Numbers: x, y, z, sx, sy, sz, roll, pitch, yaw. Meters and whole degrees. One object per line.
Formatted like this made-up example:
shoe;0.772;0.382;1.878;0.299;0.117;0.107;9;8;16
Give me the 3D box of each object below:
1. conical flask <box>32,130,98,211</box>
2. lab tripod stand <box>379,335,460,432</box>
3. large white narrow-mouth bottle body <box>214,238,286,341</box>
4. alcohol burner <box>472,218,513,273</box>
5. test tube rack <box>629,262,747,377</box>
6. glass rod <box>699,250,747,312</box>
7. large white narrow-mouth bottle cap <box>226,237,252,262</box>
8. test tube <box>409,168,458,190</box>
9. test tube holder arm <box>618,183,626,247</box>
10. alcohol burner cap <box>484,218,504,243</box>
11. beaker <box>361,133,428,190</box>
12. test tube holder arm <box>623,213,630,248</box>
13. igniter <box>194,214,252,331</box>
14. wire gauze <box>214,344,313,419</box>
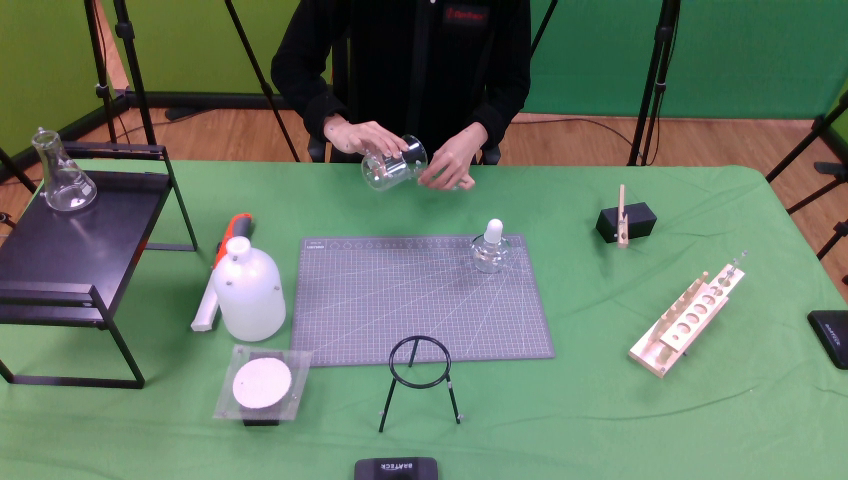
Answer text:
conical flask;-0.565;-0.110;0.944;0.075;0.122;0.075;2;46;-2
lab tripod stand;-0.011;0.214;0.911;0.148;0.132;0.147;1;45;0
large white narrow-mouth bottle body;-0.285;0.073;0.986;0.102;0.195;0.101;2;46;-2
alcohol burner;0.128;0.005;1.132;0.078;0.120;0.077;0;47;0
test tube rack;0.464;0.126;1.060;0.242;0.085;0.066;-34;56;-30
glass rod;0.500;0.075;1.021;0.008;0.201;0.008;0;55;0
large white narrow-mouth bottle cap;-0.282;0.014;0.923;0.038;0.024;0.037;2;46;-2
test tube;0.022;-0.118;1.181;0.151;0.017;0.017;12;28;-52
test tube holder arm;0.395;-0.053;1.210;0.013;0.015;0.177;15;47;-1
alcohol burner cap;0.130;-0.021;1.106;0.034;0.048;0.033;3;51;-4
beaker;-0.055;-0.135;1.072;0.100;0.084;0.073;-31;55;-33
test tube holder arm;0.392;-0.020;1.180;0.010;0.015;0.087;15;47;-1
igniter;-0.367;0.050;1.119;0.057;0.025;0.275;-4;46;7
wire gauze;-0.241;0.213;0.915;0.121;0.011;0.124;5;46;1
